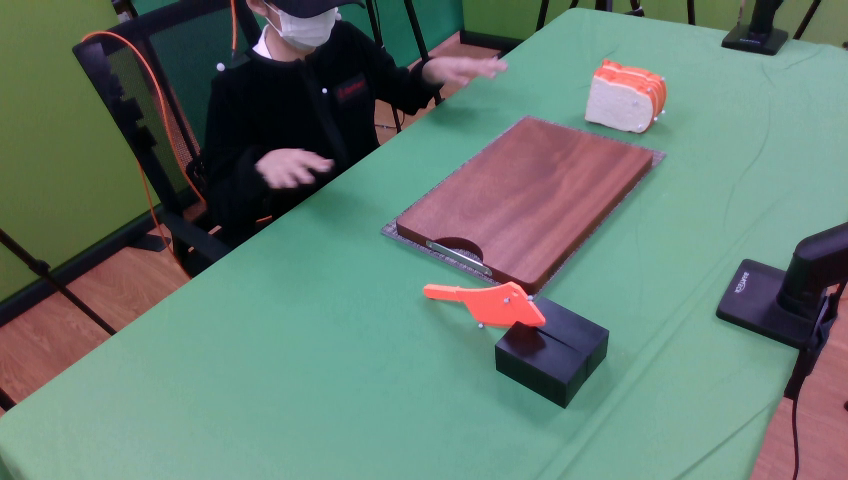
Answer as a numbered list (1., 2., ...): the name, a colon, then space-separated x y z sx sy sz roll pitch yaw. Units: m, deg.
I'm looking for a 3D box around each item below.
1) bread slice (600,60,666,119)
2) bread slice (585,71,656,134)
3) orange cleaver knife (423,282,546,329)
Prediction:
1. bread slice: 0.403 -0.285 1.186 0.133 0.107 0.018 23 55 21
2. bread slice: 0.375 -0.257 1.156 0.130 0.105 0.019 25 53 25
3. orange cleaver knife: 0.075 0.087 0.814 0.012 0.077 0.210 -41 22 -31
